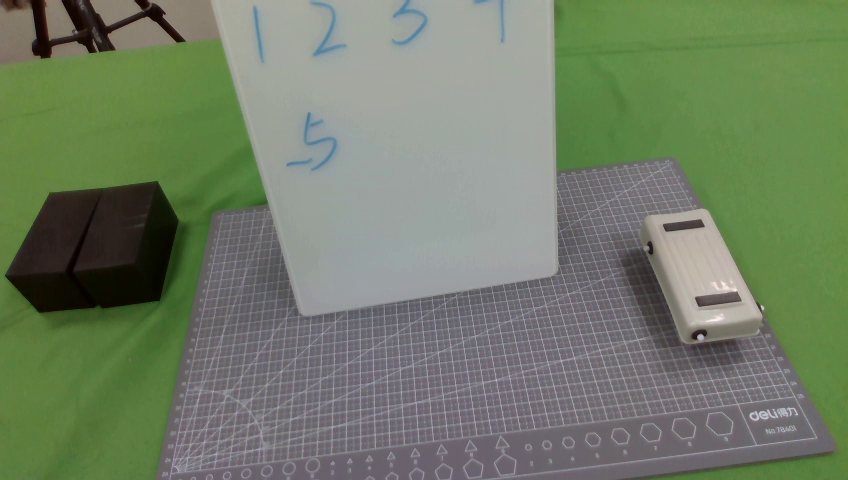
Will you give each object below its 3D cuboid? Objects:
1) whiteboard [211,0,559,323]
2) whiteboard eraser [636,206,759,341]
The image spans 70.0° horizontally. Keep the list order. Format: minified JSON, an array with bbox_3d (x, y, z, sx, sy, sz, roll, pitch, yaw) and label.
[{"bbox_3d":[-0.020,-0.114,0.481,0.217,0.308,0.142,-9,28,-1],"label":"whiteboard"},{"bbox_3d":[0.207,0.026,0.467,0.055,0.042,0.111,-6,47,1],"label":"whiteboard eraser"}]
